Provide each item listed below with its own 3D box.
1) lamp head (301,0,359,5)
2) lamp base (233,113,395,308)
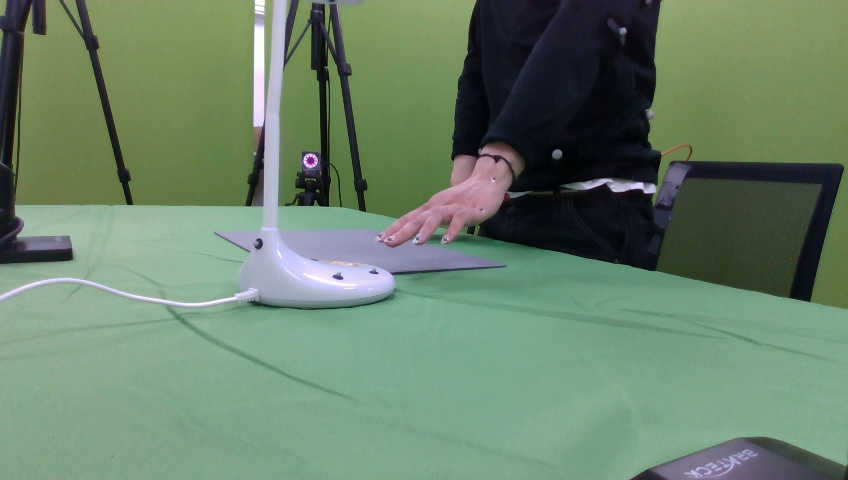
[{"bbox_3d":[-0.095,-0.314,0.610,0.112,0.123,0.112,-4,50,5],"label":"lamp head"},{"bbox_3d":[-0.113,-0.033,0.600,0.160,0.180,0.180,6,11,28],"label":"lamp base"}]
